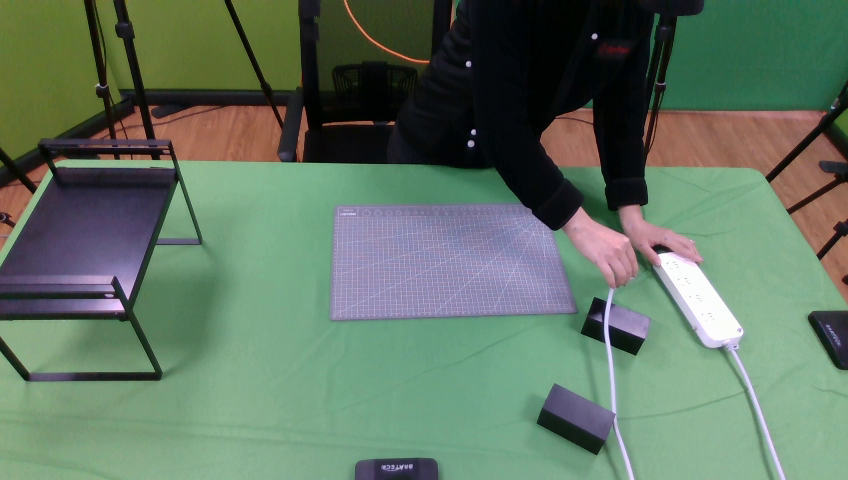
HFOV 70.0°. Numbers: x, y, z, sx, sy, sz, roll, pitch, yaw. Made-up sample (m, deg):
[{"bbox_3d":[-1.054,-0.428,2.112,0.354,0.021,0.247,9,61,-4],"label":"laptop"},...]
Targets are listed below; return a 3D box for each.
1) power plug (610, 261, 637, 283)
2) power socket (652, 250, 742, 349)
[{"bbox_3d":[0.352,0.063,1.098,0.072,0.053,0.035,-19,53,-17],"label":"power plug"},{"bbox_3d":[0.503,0.104,1.126,0.072,0.033,0.225,-8,48,-11],"label":"power socket"}]
